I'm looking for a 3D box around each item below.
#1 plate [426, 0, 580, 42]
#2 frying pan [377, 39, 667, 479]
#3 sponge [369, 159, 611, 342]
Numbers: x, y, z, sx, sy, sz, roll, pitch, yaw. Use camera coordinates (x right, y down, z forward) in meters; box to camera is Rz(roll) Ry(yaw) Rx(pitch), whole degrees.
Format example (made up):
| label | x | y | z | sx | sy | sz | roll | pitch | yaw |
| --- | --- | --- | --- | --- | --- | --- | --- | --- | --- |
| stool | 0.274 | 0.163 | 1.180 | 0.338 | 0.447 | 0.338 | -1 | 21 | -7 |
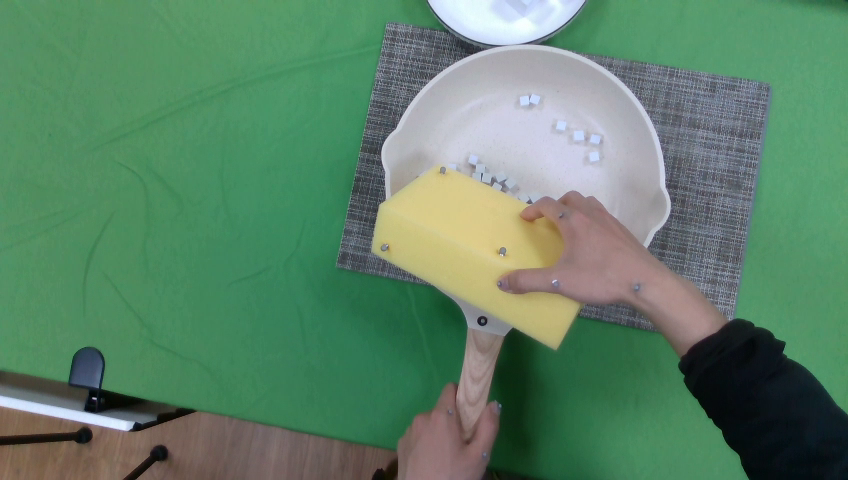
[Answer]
| label | x | y | z | sx | sy | sz | roll | pitch | yaw |
| --- | --- | --- | --- | --- | --- | --- | --- | --- | --- |
| plate | 0.092 | -0.327 | 0.706 | 0.207 | 0.039 | 0.207 | 0 | 86 | 4 |
| frying pan | 0.076 | 0.031 | 0.643 | 0.306 | 0.103 | 0.486 | 14 | 78 | 6 |
| sponge | 0.065 | 0.003 | 0.602 | 0.206 | 0.118 | 0.061 | 26 | 128 | 15 |
